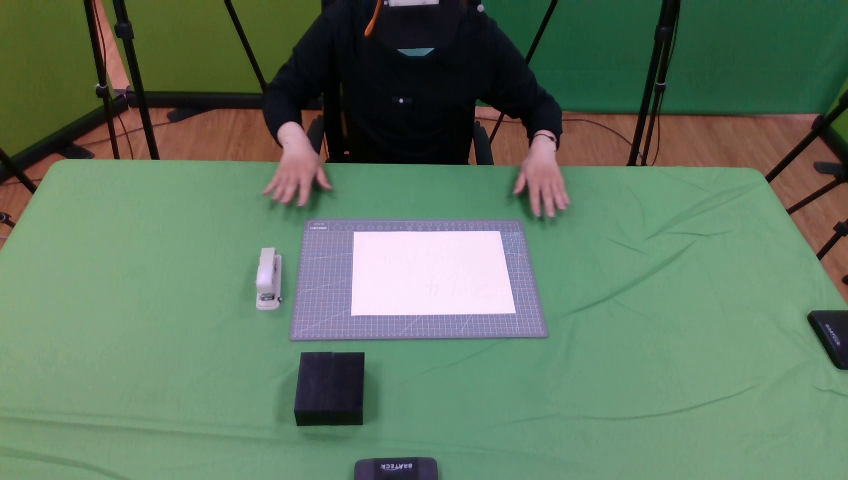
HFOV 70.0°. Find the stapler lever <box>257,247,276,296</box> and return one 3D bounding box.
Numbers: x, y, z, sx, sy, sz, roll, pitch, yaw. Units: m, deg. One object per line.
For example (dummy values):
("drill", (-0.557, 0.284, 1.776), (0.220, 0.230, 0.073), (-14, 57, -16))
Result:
("stapler lever", (-0.283, 0.050, 1.090), (0.027, 0.040, 0.117), (-2, 45, -9))

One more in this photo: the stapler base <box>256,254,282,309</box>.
("stapler base", (-0.284, 0.069, 1.107), (0.041, 0.024, 0.129), (-2, 45, -9))
